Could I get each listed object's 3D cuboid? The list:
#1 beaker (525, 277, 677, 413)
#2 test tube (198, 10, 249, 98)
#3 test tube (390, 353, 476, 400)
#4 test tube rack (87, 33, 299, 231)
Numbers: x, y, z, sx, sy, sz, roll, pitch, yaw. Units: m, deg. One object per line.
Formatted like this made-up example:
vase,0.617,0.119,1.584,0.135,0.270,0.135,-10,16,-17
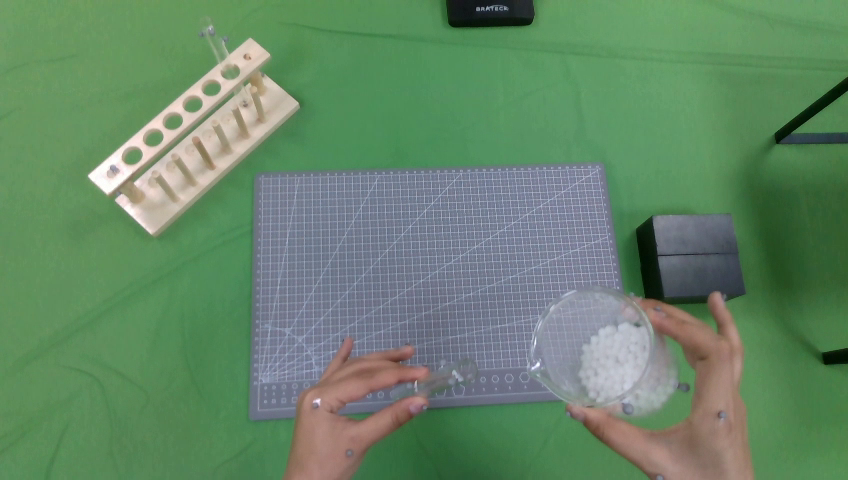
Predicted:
beaker,0.122,0.077,0.403,0.084,0.101,0.073,-27,58,22
test tube,-0.227,-0.208,0.695,0.017,0.151,0.017,0,71,-1
test tube,0.002,0.106,0.460,0.017,0.150,0.017,8,68,-19
test tube rack,-0.264,-0.128,0.721,0.066,0.085,0.242,41,75,8
